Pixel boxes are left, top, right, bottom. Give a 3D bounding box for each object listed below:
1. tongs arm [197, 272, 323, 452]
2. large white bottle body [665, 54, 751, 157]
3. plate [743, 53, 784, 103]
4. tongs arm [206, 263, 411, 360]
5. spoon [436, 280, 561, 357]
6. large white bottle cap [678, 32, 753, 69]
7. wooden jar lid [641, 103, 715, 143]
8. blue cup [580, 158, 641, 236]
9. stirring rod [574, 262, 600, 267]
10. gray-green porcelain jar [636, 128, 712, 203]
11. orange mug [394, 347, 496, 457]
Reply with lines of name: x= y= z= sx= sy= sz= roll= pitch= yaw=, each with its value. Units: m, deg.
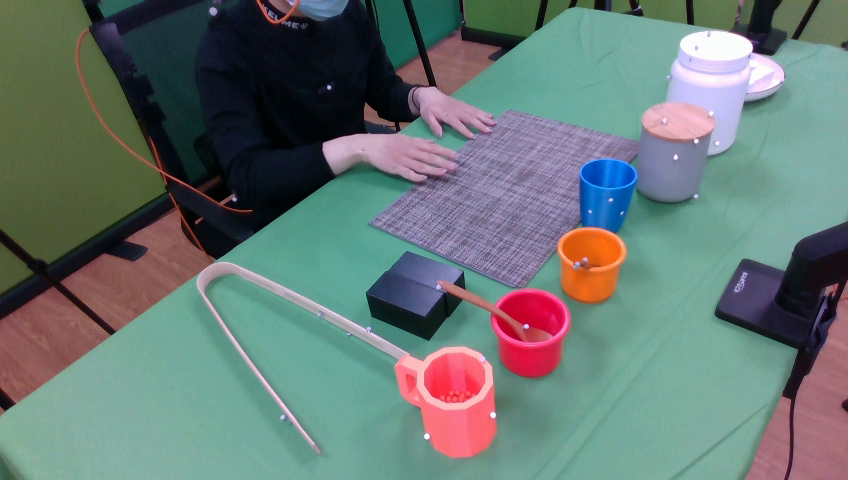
tongs arm: x=-0.236 y=0.153 z=0.829 sx=0.028 sy=0.028 sz=0.384 roll=-36 pitch=47 yaw=-19
large white bottle body: x=0.500 y=-0.257 z=1.076 sx=0.130 sy=0.185 sz=0.130 roll=-4 pitch=41 yaw=4
plate: x=0.631 y=-0.336 z=1.262 sx=0.207 sy=0.039 sz=0.206 roll=-4 pitch=41 yaw=4
tongs arm: x=-0.179 y=0.107 z=0.870 sx=0.381 sy=0.026 sz=0.051 roll=23 pitch=53 yaw=32
spoon: x=0.096 y=0.095 z=0.757 sx=0.195 sy=0.021 sz=0.041 roll=34 pitch=40 yaw=-20
large white bottle cap: x=0.491 y=-0.321 z=1.021 sx=0.115 sy=0.018 sz=0.114 roll=-4 pitch=41 yaw=4
wooden jar lid: x=0.398 y=-0.180 z=0.952 sx=0.108 sy=0.021 sz=0.108 roll=-4 pitch=43 yaw=4
blue cup: x=0.283 y=-0.063 z=0.947 sx=0.092 sy=0.100 sz=0.092 roll=-3 pitch=39 yaw=3
stirring rod: x=0.222 y=0.033 z=0.816 sx=0.014 sy=0.006 sz=0.177 roll=8 pitch=1 yaw=22
gray-green porcelain jar: x=0.405 y=-0.133 z=0.992 sx=0.106 sy=0.127 sz=0.105 roll=-4 pitch=40 yaw=4
orange mug: x=0.024 y=0.181 z=0.703 sx=0.125 sy=0.101 sz=0.083 roll=20 pitch=48 yaw=23
